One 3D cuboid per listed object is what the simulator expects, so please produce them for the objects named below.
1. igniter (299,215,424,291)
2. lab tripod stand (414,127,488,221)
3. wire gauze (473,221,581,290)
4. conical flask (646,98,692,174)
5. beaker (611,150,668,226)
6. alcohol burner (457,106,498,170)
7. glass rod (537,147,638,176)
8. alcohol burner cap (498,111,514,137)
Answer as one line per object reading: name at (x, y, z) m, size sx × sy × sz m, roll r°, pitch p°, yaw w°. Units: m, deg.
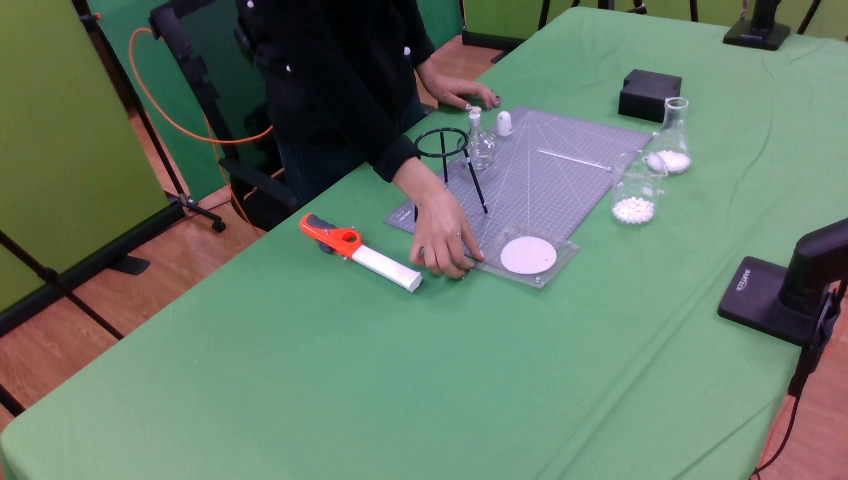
igniter at (-0.112, 0.015, 0.983) m, size 0.274 × 0.025 × 0.057 m, roll 25°, pitch 61°, yaw 34°
lab tripod stand at (0.036, -0.115, 1.021) m, size 0.148 × 0.132 × 0.147 m, roll -7°, pitch 39°, yaw 6°
wire gauze at (0.159, 0.023, 0.934) m, size 0.120 × 0.011 × 0.125 m, roll 23°, pitch 49°, yaw 33°
conical flask at (0.426, -0.180, 1.037) m, size 0.075 × 0.122 × 0.075 m, roll -5°, pitch 40°, yaw 5°
beaker at (0.337, -0.079, 0.953) m, size 0.083 × 0.101 × 0.074 m, roll 24°, pitch 51°, yaw 33°
alcohol burner at (0.097, -0.192, 1.117) m, size 0.078 × 0.119 × 0.077 m, roll -7°, pitch 39°, yaw 6°
glass rod at (0.294, -0.145, 1.104) m, size 0.198 × 0.008 × 0.008 m, roll 22°, pitch 50°, yaw 31°
alcohol burner cap at (0.163, -0.235, 1.211) m, size 0.034 × 0.048 × 0.033 m, roll -6°, pitch 40°, yaw 6°
